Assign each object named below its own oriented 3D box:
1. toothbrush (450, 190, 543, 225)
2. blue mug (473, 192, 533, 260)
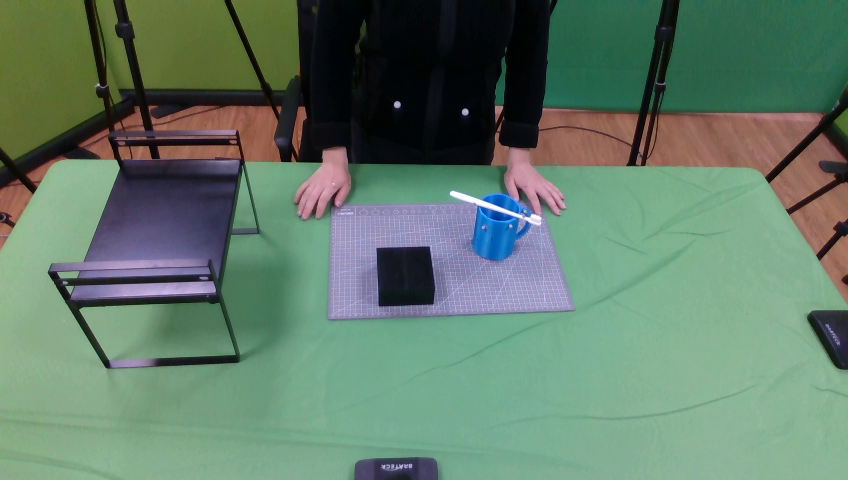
[{"bbox_3d":[0.133,-0.063,1.123,0.181,0.017,0.014,19,53,14],"label":"toothbrush"},{"bbox_3d":[0.156,-0.029,1.173,0.117,0.106,0.082,-8,47,-12],"label":"blue mug"}]
